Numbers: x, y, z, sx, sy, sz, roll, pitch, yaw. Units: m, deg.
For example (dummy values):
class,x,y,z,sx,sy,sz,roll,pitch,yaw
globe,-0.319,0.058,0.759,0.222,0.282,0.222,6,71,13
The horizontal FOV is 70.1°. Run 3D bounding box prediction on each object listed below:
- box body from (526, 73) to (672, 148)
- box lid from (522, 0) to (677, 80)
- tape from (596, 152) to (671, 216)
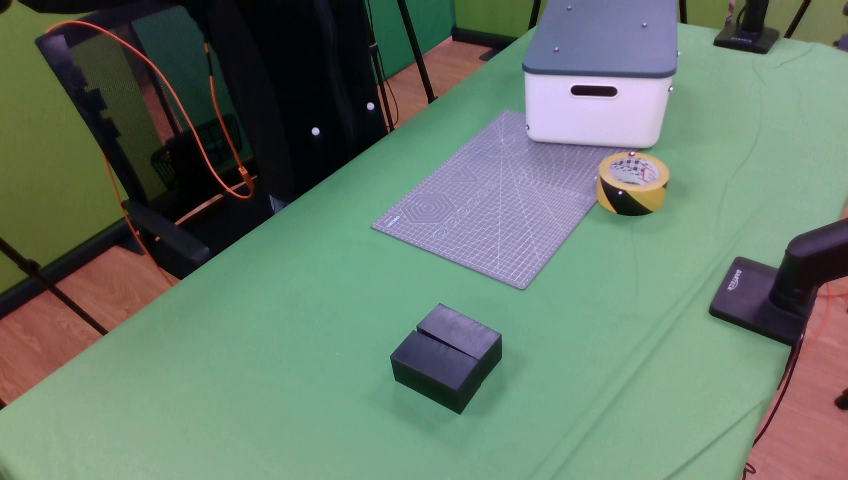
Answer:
class,x,y,z,sx,sy,sz,roll,pitch,yaw
box body,0.356,-0.342,1.212,0.253,0.161,0.363,7,42,17
box lid,0.346,-0.397,1.163,0.262,0.015,0.371,6,42,17
tape,0.349,-0.095,1.009,0.117,0.053,0.116,-3,42,3
